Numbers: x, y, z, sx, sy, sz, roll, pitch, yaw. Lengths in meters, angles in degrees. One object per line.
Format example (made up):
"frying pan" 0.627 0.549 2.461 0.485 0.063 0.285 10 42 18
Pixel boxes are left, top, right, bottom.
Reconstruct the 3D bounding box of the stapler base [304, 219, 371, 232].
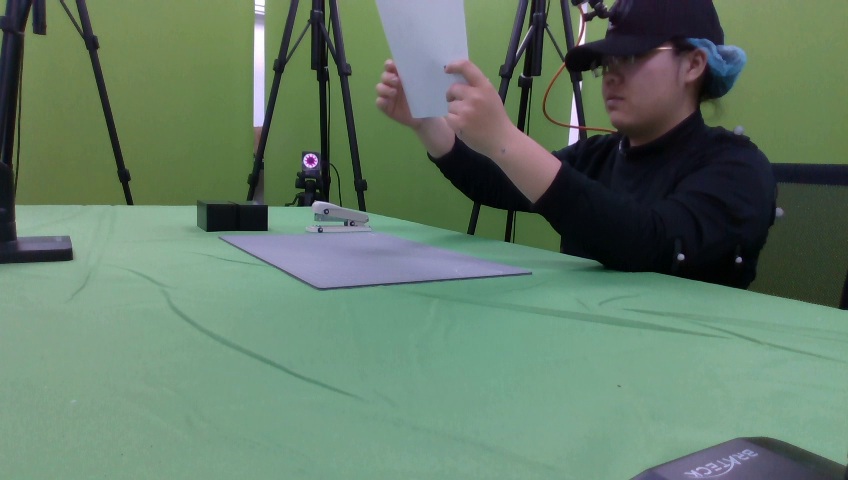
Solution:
"stapler base" -0.169 -0.030 1.186 0.131 0.024 0.041 0 9 -33

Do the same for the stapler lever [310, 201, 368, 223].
"stapler lever" -0.166 -0.055 1.185 0.119 0.040 0.026 1 9 -33
